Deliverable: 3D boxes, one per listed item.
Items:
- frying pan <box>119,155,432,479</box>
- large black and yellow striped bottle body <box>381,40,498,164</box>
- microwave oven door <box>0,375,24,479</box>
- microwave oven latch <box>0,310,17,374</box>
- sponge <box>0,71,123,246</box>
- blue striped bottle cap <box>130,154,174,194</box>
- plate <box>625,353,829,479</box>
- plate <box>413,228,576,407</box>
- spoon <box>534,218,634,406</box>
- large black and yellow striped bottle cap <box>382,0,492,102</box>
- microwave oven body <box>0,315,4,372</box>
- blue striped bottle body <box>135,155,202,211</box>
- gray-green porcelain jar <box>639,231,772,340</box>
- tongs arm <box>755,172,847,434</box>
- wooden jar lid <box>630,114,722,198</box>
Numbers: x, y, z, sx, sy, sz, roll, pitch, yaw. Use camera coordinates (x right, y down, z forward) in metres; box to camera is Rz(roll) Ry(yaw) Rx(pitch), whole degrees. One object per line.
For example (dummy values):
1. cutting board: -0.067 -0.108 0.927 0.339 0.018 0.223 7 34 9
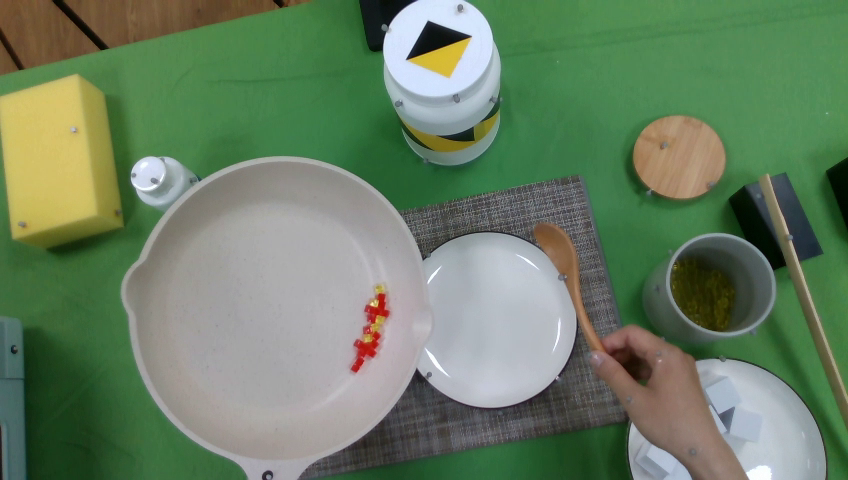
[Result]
1. frying pan: -0.143 0.165 0.577 0.309 0.102 0.485 13 73 -30
2. large black and yellow striped bottle body: 0.022 -0.180 0.712 0.130 0.185 0.130 -1 77 6
3. microwave oven door: -0.505 0.316 0.611 0.039 0.245 0.354 -11 76 4
4. microwave oven latch: -0.531 0.128 0.758 0.030 0.029 0.079 -5 78 4
5. sponge: -0.490 -0.108 0.812 0.118 0.061 0.205 -16 77 2
6. blue striped bottle cap: -0.317 -0.077 0.704 0.044 0.021 0.044 -1 79 6
7. plate: 0.326 0.229 0.667 0.207 0.039 0.206 -1 78 6
8. plate: 0.073 0.090 0.719 0.209 0.038 0.208 -1 78 7
9. spoon: 0.152 0.067 0.572 0.022 0.041 0.193 -17 84 -36
10. large black and yellow striped bottle cap: 0.014 -0.200 0.630 0.115 0.019 0.114 -1 79 6
11. microwave oven body: -0.655 0.304 0.634 0.326 0.261 0.439 -11 77 3
12. blue striped bottle body: -0.311 -0.064 0.754 0.063 0.121 0.063 -1 77 6
13. gray-green porcelain jar: 0.298 0.055 0.662 0.106 0.127 0.105 -1 77 6
14. tongs arm: 0.443 0.104 0.653 0.051 0.026 0.384 -16 87 0
15. wooden jar lid: 0.309 -0.102 0.749 0.108 0.021 0.108 -1 79 6
